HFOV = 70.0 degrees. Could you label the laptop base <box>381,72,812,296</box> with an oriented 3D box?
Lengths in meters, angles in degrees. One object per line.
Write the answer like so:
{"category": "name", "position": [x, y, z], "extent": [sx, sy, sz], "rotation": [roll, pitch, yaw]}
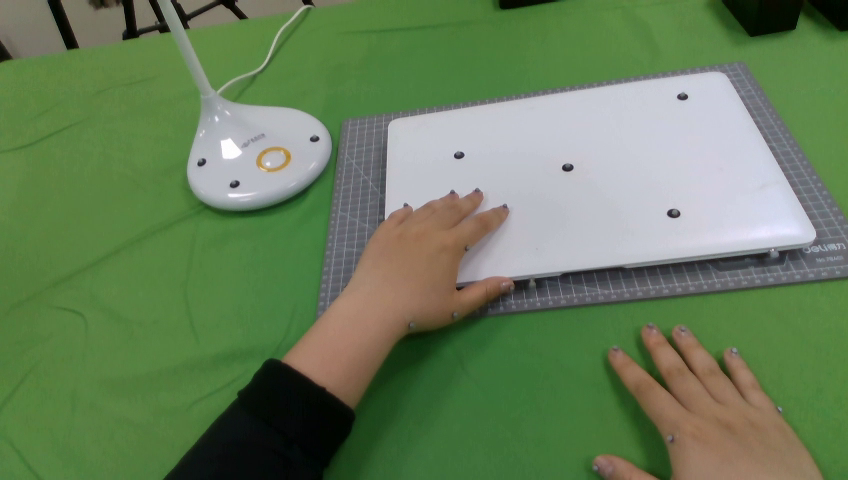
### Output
{"category": "laptop base", "position": [0.135, -0.058, 0.575], "extent": [0.354, 0.023, 0.233], "rotation": [-7, 51, 6]}

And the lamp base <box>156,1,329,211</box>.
{"category": "lamp base", "position": [-0.206, -0.146, 0.619], "extent": [0.177, 0.182, 0.160], "rotation": [25, 58, 33]}

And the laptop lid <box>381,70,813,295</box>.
{"category": "laptop lid", "position": [0.133, -0.064, 0.564], "extent": [0.356, 0.013, 0.239], "rotation": [-6, 50, 7]}
